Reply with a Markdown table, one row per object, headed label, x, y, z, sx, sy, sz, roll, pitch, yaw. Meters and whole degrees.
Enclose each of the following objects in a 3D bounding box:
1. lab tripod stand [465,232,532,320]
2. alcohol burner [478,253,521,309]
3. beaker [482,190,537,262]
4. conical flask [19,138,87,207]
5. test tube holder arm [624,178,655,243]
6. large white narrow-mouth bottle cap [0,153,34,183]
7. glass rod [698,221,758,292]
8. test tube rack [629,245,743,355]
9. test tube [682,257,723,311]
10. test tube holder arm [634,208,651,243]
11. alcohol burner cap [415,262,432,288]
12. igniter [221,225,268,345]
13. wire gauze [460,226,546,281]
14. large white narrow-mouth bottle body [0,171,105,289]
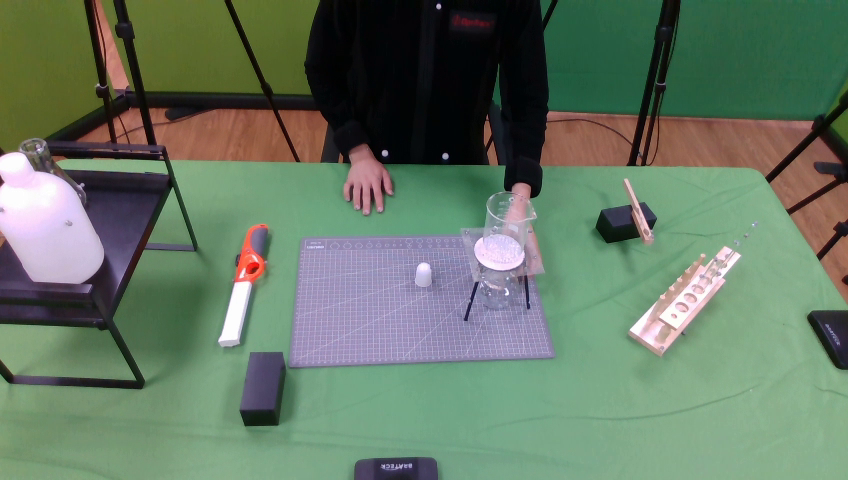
| label | x | y | z | sx | sy | sz | roll | pitch | yaw |
| --- | --- | --- | --- | --- | --- | --- | --- | --- | --- |
| lab tripod stand | 0.124 | 0.059 | 1.065 | 0.148 | 0.132 | 0.147 | 1 | 45 | 0 |
| alcohol burner | 0.134 | 0.067 | 1.073 | 0.078 | 0.120 | 0.077 | 1 | 47 | 0 |
| beaker | 0.136 | -0.019 | 0.983 | 0.084 | 0.101 | 0.073 | 17 | 47 | 14 |
| conical flask | -0.576 | -0.097 | 0.930 | 0.075 | 0.122 | 0.075 | 2 | 46 | -2 |
| test tube holder arm | 0.432 | -0.062 | 1.220 | 0.013 | 0.015 | 0.177 | -1 | 47 | -2 |
| large white narrow-mouth bottle cap | -0.510 | -0.090 | 0.754 | 0.038 | 0.024 | 0.037 | 2 | 46 | -2 |
| glass rod | 0.527 | 0.035 | 1.059 | 0.008 | 0.200 | 0.008 | 5 | 49 | -6 |
| test tube rack | 0.474 | 0.095 | 1.091 | 0.242 | 0.085 | 0.066 | -34 | 56 | -31 |
| test tube | 0.475 | 0.080 | 1.037 | 0.017 | 0.151 | 0.017 | 1 | 50 | -1 |
| test tube holder arm | 0.428 | -0.029 | 1.189 | 0.010 | 0.015 | 0.087 | 0 | 47 | -1 |
| alcohol burner cap | 0.000 | 0.061 | 1.119 | 0.034 | 0.048 | 0.033 | 3 | 43 | -3 |
| igniter | -0.323 | 0.072 | 1.100 | 0.057 | 0.025 | 0.274 | -6 | 45 | 4 |
| wire gauze | 0.130 | 0.017 | 1.016 | 0.121 | 0.011 | 0.124 | -4 | 43 | -9 |
| large white narrow-mouth bottle body | -0.513 | -0.029 | 0.818 | 0.102 | 0.195 | 0.101 | 2 | 46 | -2 |
